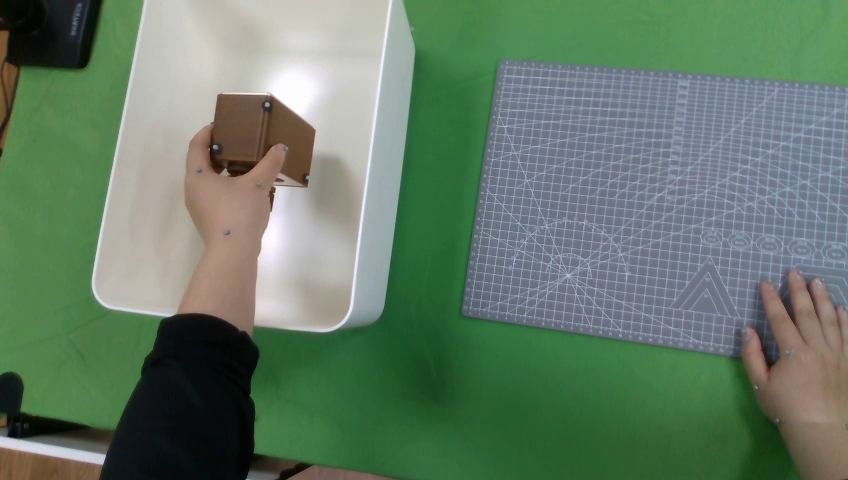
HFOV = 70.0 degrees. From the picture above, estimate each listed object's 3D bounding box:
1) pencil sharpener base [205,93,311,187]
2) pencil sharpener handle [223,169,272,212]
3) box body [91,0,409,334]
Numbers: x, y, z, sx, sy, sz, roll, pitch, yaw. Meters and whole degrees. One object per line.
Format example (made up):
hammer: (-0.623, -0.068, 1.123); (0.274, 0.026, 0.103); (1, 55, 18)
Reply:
pencil sharpener base: (-0.169, -0.097, 0.629); (0.061, 0.107, 0.076); (4, 83, 15)
pencil sharpener handle: (-0.176, -0.049, 0.612); (0.036, 0.068, 0.030); (3, 82, 19)
box body: (-0.161, -0.092, 0.642); (0.254, 0.161, 0.363); (4, 83, 9)
